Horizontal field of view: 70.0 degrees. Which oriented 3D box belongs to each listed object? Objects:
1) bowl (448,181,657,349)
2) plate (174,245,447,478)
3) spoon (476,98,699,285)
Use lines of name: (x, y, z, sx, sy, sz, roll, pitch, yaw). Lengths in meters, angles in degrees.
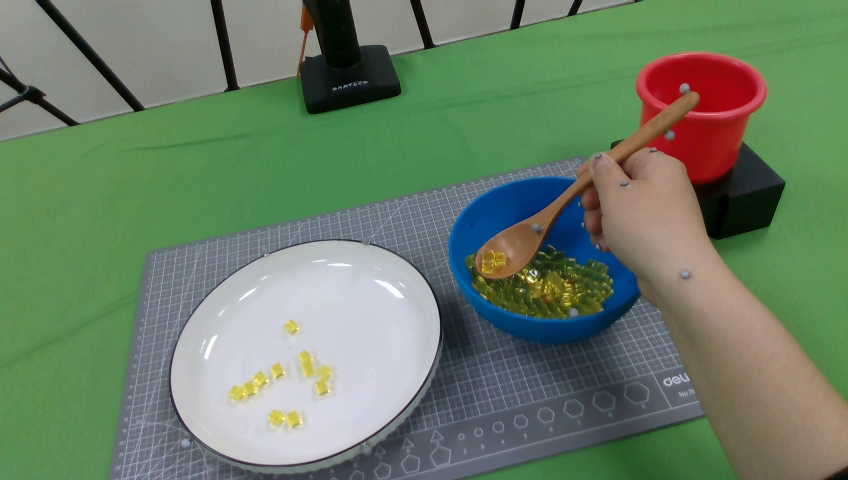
bowl: (0.097, 0.031, 0.471, 0.151, 0.077, 0.150, -5, 45, 5)
plate: (-0.084, 0.088, 0.472, 0.207, 0.039, 0.205, -5, 45, 5)
spoon: (0.112, -0.031, 0.432, 0.194, 0.022, 0.041, -44, 42, 23)
